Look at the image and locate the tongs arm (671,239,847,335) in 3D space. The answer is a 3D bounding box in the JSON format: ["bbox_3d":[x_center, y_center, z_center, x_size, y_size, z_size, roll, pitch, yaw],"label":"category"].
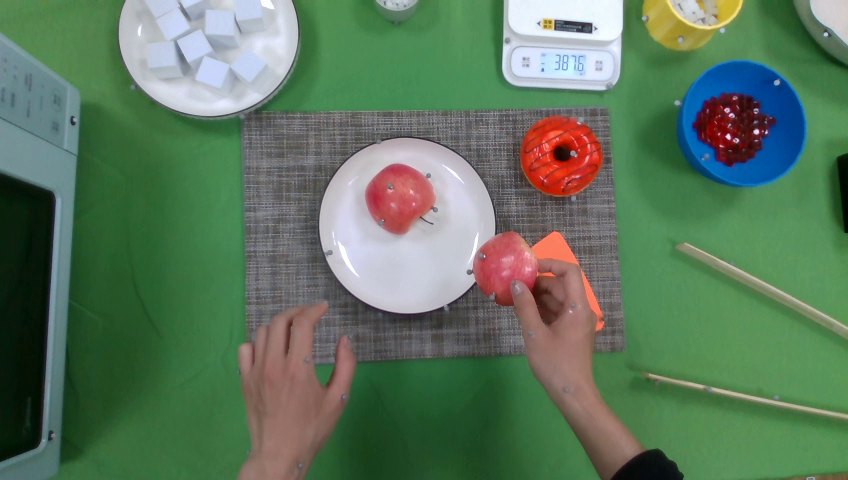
[{"bbox_3d":[0.476,0.096,0.743,0.388,0.028,0.028,29,76,-1],"label":"tongs arm"}]

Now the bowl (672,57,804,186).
[{"bbox_3d":[0.363,-0.134,0.734,0.151,0.077,0.151,0,85,-4],"label":"bowl"}]

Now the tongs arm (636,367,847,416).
[{"bbox_3d":[0.447,0.178,0.731,0.385,0.026,0.050,14,80,-3],"label":"tongs arm"}]

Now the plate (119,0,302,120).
[{"bbox_3d":[-0.248,-0.241,0.720,0.208,0.039,0.207,0,84,-4],"label":"plate"}]

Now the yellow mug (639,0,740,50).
[{"bbox_3d":[0.320,-0.310,0.753,0.100,0.064,0.130,-34,87,-6],"label":"yellow mug"}]

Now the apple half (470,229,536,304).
[{"bbox_3d":[0.076,0.026,0.630,0.033,0.081,0.081,-7,83,-45],"label":"apple half"}]

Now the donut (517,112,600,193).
[{"bbox_3d":[0.161,-0.105,0.729,0.099,0.048,0.099,0,85,-2],"label":"donut"}]

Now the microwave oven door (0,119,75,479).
[{"bbox_3d":[-0.407,0.064,0.558,0.039,0.244,0.355,0,84,-4],"label":"microwave oven door"}]

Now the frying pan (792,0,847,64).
[{"bbox_3d":[0.648,-0.255,0.752,0.307,0.103,0.485,-29,79,-5],"label":"frying pan"}]

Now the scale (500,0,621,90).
[{"bbox_3d":[0.172,-0.292,0.758,0.149,0.031,0.200,2,85,-3],"label":"scale"}]

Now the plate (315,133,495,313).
[{"bbox_3d":[-0.022,-0.019,0.711,0.209,0.038,0.208,0,84,-4],"label":"plate"}]

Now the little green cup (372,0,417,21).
[{"bbox_3d":[-0.036,-0.301,0.741,0.061,0.038,0.061,0,84,-4],"label":"little green cup"}]

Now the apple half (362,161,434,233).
[{"bbox_3d":[-0.031,-0.054,0.698,0.081,0.053,0.074,-39,85,-7],"label":"apple half"}]

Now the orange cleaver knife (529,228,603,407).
[{"bbox_3d":[0.175,0.091,0.724,0.077,0.012,0.211,-20,85,-10],"label":"orange cleaver knife"}]

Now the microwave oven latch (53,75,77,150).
[{"bbox_3d":[-0.410,-0.143,0.680,0.030,0.029,0.079,2,85,-4],"label":"microwave oven latch"}]

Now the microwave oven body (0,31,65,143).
[{"bbox_3d":[-0.553,0.021,0.557,0.326,0.260,0.440,1,85,-4],"label":"microwave oven body"}]
